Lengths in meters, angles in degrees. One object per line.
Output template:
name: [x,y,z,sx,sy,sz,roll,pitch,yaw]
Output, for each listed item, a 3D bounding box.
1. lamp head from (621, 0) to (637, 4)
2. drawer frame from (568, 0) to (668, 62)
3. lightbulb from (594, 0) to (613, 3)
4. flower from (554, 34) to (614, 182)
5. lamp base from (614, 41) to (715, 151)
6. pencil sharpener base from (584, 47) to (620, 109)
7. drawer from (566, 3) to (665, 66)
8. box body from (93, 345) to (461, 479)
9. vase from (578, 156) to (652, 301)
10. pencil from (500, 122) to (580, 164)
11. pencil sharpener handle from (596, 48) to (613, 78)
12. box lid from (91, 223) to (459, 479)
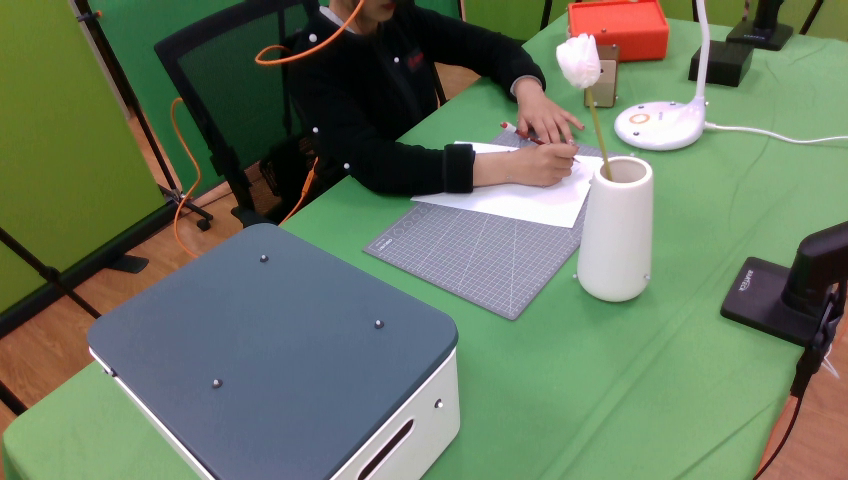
lamp head: [0.319,-0.453,0.962,0.113,0.123,0.112,20,33,-13]
drawer frame: [0.450,-0.496,1.441,0.213,0.083,0.201,-1,40,9]
lightbulb: [0.305,-0.437,0.977,0.060,0.107,0.059,12,44,-11]
flower: [0.237,-0.083,0.774,0.044,0.363,0.038,-22,26,6]
lamp base: [0.449,-0.277,1.106,0.179,0.181,0.160,1,41,9]
pencil sharpener base: [0.368,-0.336,1.249,0.061,0.107,0.076,6,42,19]
drawer: [0.447,-0.493,1.440,0.211,0.073,0.194,0,40,10]
box body: [-0.162,0.170,0.708,0.361,0.161,0.255,25,50,34]
vase: [0.261,-0.011,0.812,0.098,0.201,0.097,-4,40,4]
pencil: [0.206,-0.166,1.047,0.196,0.012,0.012,18,27,-33]
pencil sharpener handle: [0.382,-0.378,1.277,0.036,0.068,0.030,4,42,20]
box lid: [-0.174,0.103,0.667,0.368,0.015,0.264,24,48,35]
